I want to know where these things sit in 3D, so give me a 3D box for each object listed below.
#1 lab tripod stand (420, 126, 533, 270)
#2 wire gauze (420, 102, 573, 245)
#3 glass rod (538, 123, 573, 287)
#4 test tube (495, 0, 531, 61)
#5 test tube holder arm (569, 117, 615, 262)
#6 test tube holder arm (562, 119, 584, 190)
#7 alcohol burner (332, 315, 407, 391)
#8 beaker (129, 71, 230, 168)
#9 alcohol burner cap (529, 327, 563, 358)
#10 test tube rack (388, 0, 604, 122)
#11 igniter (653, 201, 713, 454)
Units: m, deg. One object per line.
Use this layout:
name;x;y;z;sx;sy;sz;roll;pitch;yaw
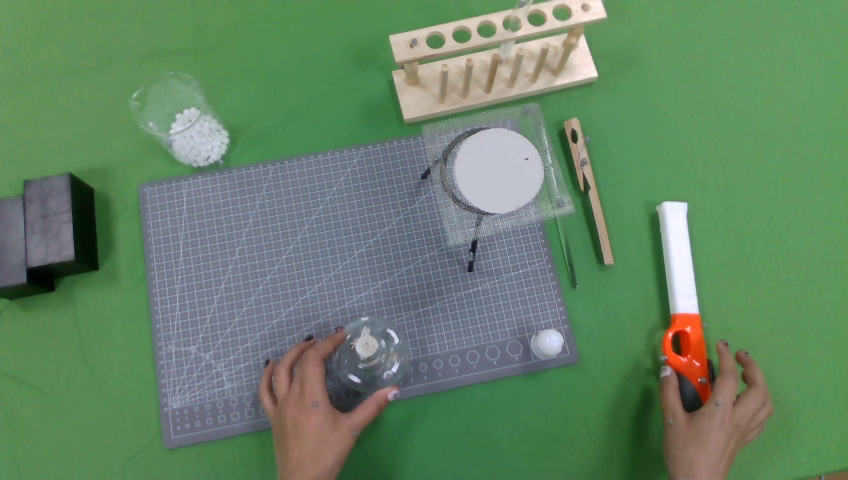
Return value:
lab tripod stand;0.055;-0.053;0.640;0.148;0.132;0.147;0;76;1
wire gauze;0.067;-0.067;0.574;0.121;0.011;0.124;-13;75;-3
glass rod;0.153;-0.043;0.707;0.008;0.008;0.199;-8;79;-3
test tube;0.101;-0.243;0.666;0.017;0.151;0.017;2;73;-6
test tube holder arm;0.194;-0.060;0.705;0.013;0.015;0.177;-20;75;29
test tube holder arm;0.180;-0.101;0.718;0.010;0.015;0.087;-20;75;29
alcohol burner;-0.056;0.110;0.606;0.078;0.120;0.077;0;73;1
beaker;-0.266;-0.129;0.674;0.084;0.101;0.073;7;75;2
alcohol burner cap;0.132;0.107;0.647;0.034;0.048;0.033;0;75;-1
test tube rack;0.085;-0.211;0.709;0.242;0.085;0.066;-13;76;-4
igniter;0.283;0.090;0.666;0.057;0.025;0.275;2;75;-12
